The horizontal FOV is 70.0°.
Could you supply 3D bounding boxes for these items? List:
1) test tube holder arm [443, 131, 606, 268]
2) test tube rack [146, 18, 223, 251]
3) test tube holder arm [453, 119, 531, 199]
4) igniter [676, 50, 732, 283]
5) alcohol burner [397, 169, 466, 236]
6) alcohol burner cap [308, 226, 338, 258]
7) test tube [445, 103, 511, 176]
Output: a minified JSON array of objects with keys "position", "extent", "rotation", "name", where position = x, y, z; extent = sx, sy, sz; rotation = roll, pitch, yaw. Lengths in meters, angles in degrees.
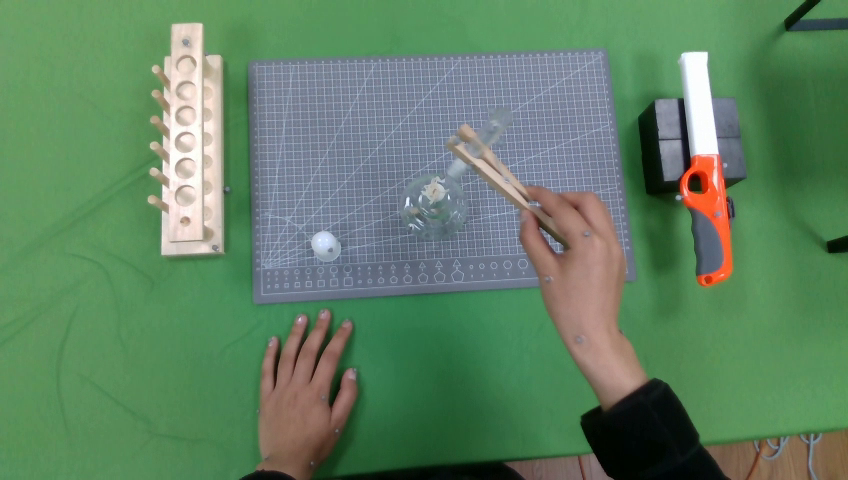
[{"position":[0.088,-0.033,0.525],"extent":[0.179,0.015,0.013],"rotation":[40,73,-7],"name":"test tube holder arm"},{"position":[-0.270,-0.114,0.678],"extent":[0.067,0.085,0.241],"rotation":[-3,80,-3],"name":"test tube rack"},{"position":[0.059,-0.067,0.522],"extent":[0.010,0.015,0.088],"rotation":[-43,95,-18],"name":"test tube holder arm"},{"position":[0.317,-0.088,0.695],"extent":[0.057,0.025,0.275],"rotation":[-1,79,2],"name":"igniter"},{"position":[0.009,-0.045,0.667],"extent":[0.078,0.119,0.077],"rotation":[0,81,-2],"name":"alcohol burner"},{"position":[-0.116,0.000,0.687],"extent":[0.034,0.048,0.033],"rotation":[1,78,-3],"name":"alcohol burner cap"},{"position":[0.042,-0.080,0.512],"extent":[0.017,0.150,0.017],"rotation":[2,80,-12],"name":"test tube"}]
